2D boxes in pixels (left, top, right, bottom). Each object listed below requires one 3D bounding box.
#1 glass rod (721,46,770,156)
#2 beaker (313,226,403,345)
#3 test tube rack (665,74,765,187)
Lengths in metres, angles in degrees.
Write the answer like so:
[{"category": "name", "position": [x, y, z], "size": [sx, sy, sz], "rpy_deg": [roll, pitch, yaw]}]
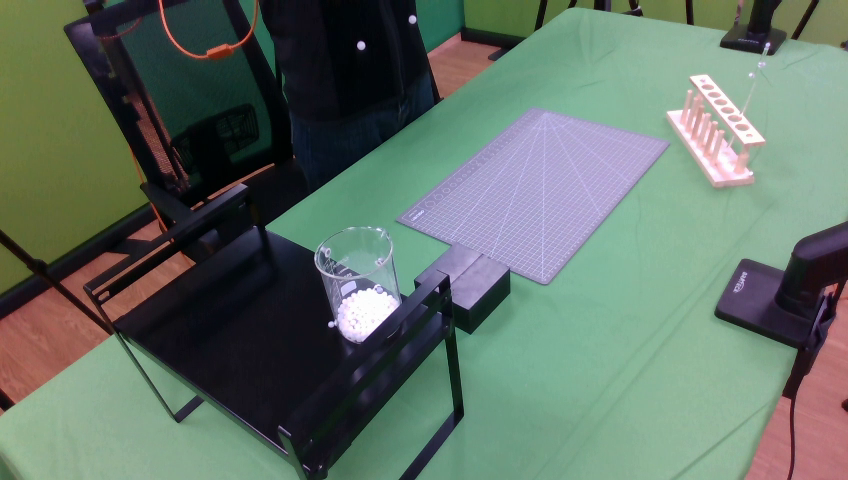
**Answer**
[{"category": "glass rod", "position": [0.533, -0.226, 1.006], "size": [0.008, 0.200, 0.008], "rpy_deg": [1, 41, -1]}, {"category": "beaker", "position": [-0.059, 0.046, 0.593], "size": [0.073, 0.101, 0.084], "rpy_deg": [23, 49, 30]}, {"category": "test tube rack", "position": [0.512, -0.201, 1.082], "size": [0.067, 0.085, 0.241], "rpy_deg": [-6, 41, 2]}]
